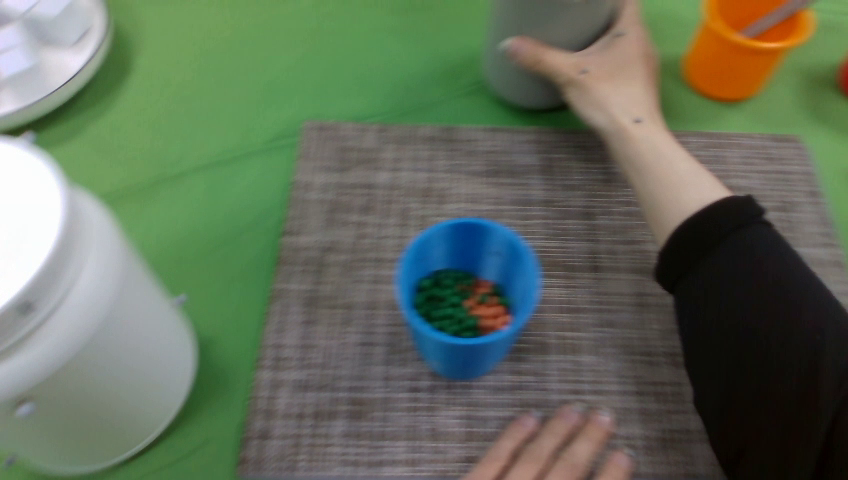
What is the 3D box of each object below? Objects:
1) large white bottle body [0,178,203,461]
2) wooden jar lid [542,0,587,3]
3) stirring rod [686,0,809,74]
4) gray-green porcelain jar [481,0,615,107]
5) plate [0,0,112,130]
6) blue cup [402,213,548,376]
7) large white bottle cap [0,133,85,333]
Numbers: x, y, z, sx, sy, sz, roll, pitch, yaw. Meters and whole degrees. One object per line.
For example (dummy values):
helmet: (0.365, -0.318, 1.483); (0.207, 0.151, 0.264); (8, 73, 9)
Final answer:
large white bottle body: (-0.217, 0.043, 0.346); (0.131, 0.186, 0.129); (1, 59, -1)
wooden jar lid: (0.105, -0.221, 0.473); (0.108, 0.021, 0.107); (1, 56, -1)
stirring rod: (0.316, -0.203, 0.533); (0.176, 0.006, 0.014); (-33, 58, 29)
gray-green porcelain jar: (0.104, -0.189, 0.527); (0.106, 0.127, 0.105); (0, 59, 0)
plate: (-0.391, -0.173, 0.556); (0.208, 0.039, 0.205); (1, 59, -1)
blue cup: (0.030, 0.045, 0.396); (0.092, 0.101, 0.092); (0, 60, 1)
large white bottle cap: (-0.216, -0.001, 0.273); (0.115, 0.018, 0.114); (1, 59, -1)
